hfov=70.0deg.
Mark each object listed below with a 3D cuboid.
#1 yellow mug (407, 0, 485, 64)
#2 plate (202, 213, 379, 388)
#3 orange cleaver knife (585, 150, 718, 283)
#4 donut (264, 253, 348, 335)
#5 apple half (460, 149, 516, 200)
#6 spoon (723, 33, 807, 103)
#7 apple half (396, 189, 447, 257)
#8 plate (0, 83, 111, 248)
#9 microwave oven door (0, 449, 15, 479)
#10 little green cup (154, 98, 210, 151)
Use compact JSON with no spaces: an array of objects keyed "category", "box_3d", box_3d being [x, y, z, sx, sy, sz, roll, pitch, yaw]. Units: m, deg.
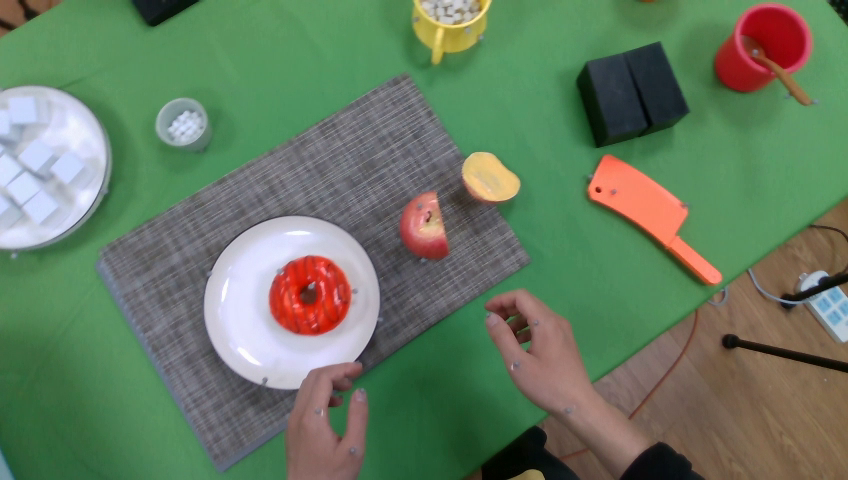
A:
[{"category":"yellow mug","box_3d":[0.024,-0.291,0.785,0.100,0.064,0.130,14,81,1]},{"category":"plate","box_3d":[-0.157,0.071,0.729,0.209,0.038,0.208,0,81,-1]},{"category":"orange cleaver knife","box_3d":[0.296,-0.032,0.774,0.211,0.012,0.077,41,76,6]},{"category":"donut","box_3d":[-0.139,0.064,0.719,0.099,0.048,0.098,0,82,-2]},{"category":"apple half","box_3d":[0.073,-0.075,0.760,0.082,0.033,0.080,14,50,-17]},{"category":"spoon","box_3d":[0.419,-0.215,0.745,0.041,0.022,0.192,1,35,-1]},{"category":"apple half","box_3d":[-0.006,-0.016,0.731,0.053,0.075,0.080,-14,84,0]},{"category":"plate","box_3d":[-0.489,-0.090,0.749,0.208,0.039,0.207,0,80,-2]},{"category":"microwave oven door","box_3d":[-0.451,0.296,0.564,0.039,0.244,0.354,-31,82,-7]},{"category":"little green cup","box_3d":[-0.302,-0.142,0.764,0.061,0.039,0.061,0,80,-1]}]
